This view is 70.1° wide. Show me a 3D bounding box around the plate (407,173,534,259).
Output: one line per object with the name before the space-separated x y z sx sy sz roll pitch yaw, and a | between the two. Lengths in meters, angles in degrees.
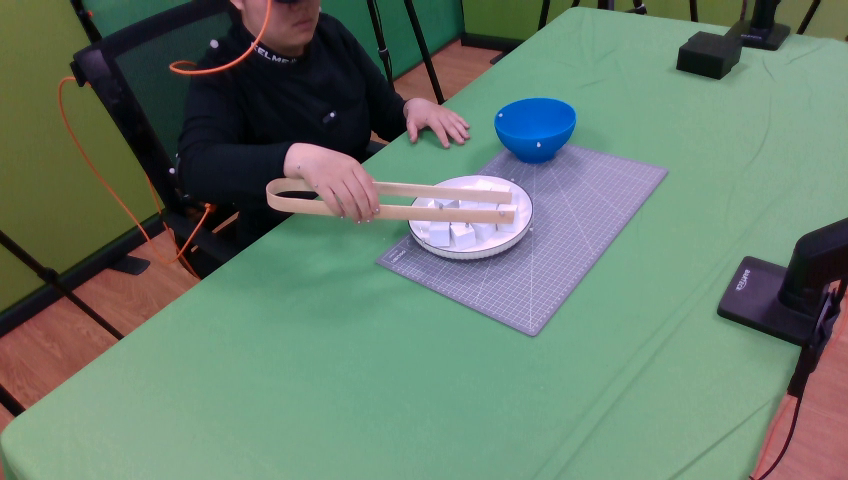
plate | 0.076 -0.037 0.997 0.207 0.039 0.206 -5 40 5

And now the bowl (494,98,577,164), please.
bowl | 0.207 -0.195 1.128 0.151 0.077 0.150 -5 40 5

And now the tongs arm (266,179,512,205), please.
tongs arm | -0.052 -0.073 0.961 0.388 0.028 0.028 2 43 -5

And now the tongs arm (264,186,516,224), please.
tongs arm | -0.052 -0.054 0.935 0.386 0.026 0.050 1 39 -6
